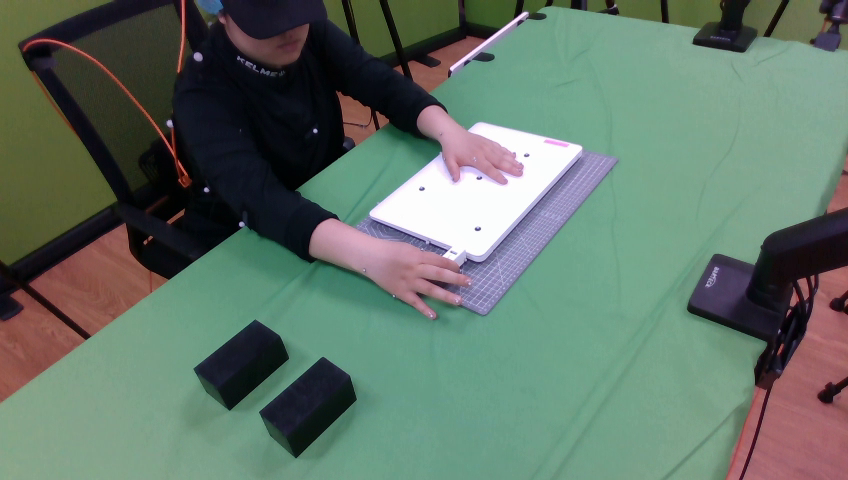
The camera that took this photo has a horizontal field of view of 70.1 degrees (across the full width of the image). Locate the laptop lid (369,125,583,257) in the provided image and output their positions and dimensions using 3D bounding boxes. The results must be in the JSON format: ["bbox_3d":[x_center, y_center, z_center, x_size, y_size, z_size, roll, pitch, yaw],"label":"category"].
[{"bbox_3d":[0.098,-0.105,1.066,0.239,0.013,0.358,21,47,34],"label":"laptop lid"}]

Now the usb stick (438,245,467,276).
[{"bbox_3d":[0.048,0.027,0.911,0.021,0.027,0.059,29,44,28],"label":"usb stick"}]

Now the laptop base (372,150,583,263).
[{"bbox_3d":[0.101,-0.096,1.071,0.233,0.023,0.355,19,47,33],"label":"laptop base"}]
